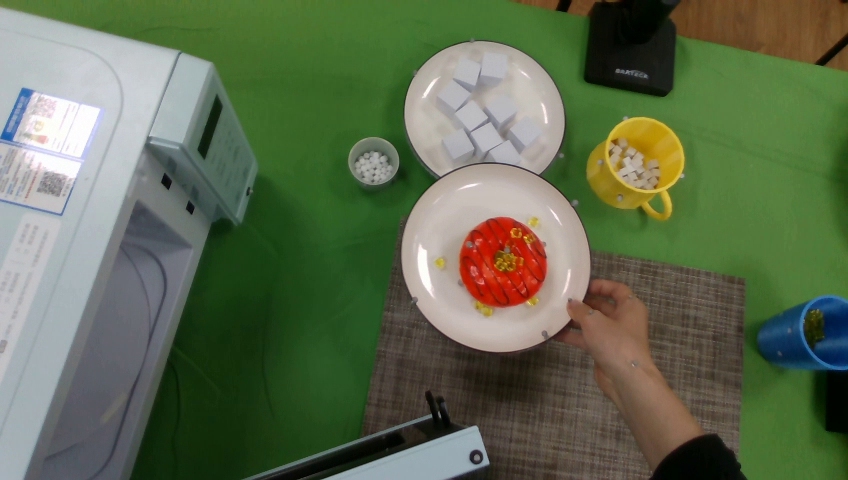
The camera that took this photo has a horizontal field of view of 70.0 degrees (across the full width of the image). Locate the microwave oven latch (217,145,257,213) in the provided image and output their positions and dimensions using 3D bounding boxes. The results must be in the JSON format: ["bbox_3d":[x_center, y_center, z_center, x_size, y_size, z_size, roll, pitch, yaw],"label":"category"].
[{"bbox_3d":[-0.218,-0.074,0.702,0.030,0.029,0.079,17,77,-3],"label":"microwave oven latch"}]

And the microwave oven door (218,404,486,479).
[{"bbox_3d":[-0.134,0.225,0.540,0.356,0.244,0.039,-17,79,-10],"label":"microwave oven door"}]

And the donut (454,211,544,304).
[{"bbox_3d":[0.079,0.019,0.642,0.099,0.048,0.098,1,82,-8],"label":"donut"}]

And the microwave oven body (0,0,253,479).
[{"bbox_3d":[-0.391,0.038,0.559,0.326,0.261,0.440,14,77,-3],"label":"microwave oven body"}]

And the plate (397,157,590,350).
[{"bbox_3d":[0.073,0.014,0.654,0.209,0.038,0.208,2,79,-7],"label":"plate"}]

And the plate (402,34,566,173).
[{"bbox_3d":[0.075,-0.160,0.773,0.208,0.039,0.206,2,77,-6],"label":"plate"}]

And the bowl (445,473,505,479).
[{"bbox_3d":[0.049,0.320,0.642,0.151,0.077,0.150,1,77,-5],"label":"bowl"}]

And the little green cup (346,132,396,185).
[{"bbox_3d":[-0.065,-0.097,0.742,0.061,0.039,0.061,1,79,-4],"label":"little green cup"}]

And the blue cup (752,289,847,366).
[{"bbox_3d":[0.449,0.109,0.721,0.093,0.100,0.092,2,76,-7],"label":"blue cup"}]

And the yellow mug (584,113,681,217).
[{"bbox_3d":[0.269,-0.088,0.764,0.100,0.064,0.130,-26,82,-12],"label":"yellow mug"}]
